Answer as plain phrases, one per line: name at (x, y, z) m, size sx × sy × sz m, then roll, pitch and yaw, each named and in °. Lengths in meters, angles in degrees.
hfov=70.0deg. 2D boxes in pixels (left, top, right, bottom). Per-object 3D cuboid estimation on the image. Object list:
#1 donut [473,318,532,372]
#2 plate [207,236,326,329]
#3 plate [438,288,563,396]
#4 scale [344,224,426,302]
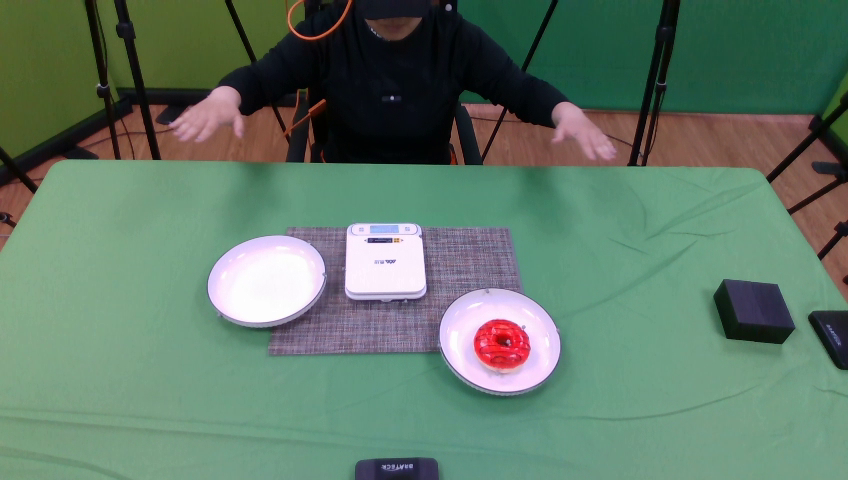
donut at (0.131, 0.174, 1.010) m, size 0.099 × 0.048 × 0.098 m, roll 1°, pitch 48°, yaw -1°
plate at (-0.278, 0.078, 1.088) m, size 0.208 × 0.039 × 0.206 m, roll 1°, pitch 46°, yaw 0°
plate at (0.127, 0.173, 1.025) m, size 0.209 × 0.038 × 0.208 m, roll 3°, pitch 48°, yaw -3°
scale at (-0.075, 0.033, 1.149) m, size 0.149 × 0.032 × 0.199 m, roll 0°, pitch 46°, yaw -5°
